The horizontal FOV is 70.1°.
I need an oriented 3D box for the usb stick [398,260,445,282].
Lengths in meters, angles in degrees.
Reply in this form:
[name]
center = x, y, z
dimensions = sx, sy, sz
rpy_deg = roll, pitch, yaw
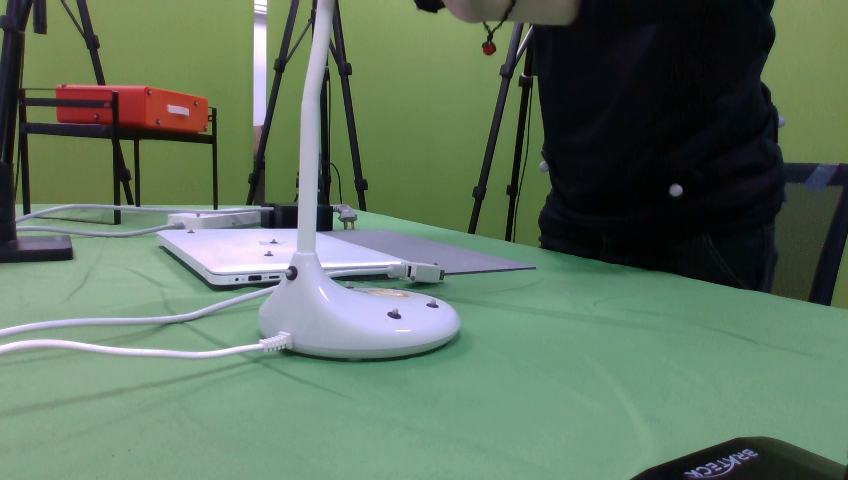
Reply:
[usb stick]
center = -0.001, 0.036, 0.696
dimensions = 0.027, 0.021, 0.059
rpy_deg = 8, 1, 43

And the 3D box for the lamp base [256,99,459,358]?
[lamp base]
center = -0.055, -0.013, 0.463
dimensions = 0.160, 0.180, 0.180
rpy_deg = 6, 11, 27

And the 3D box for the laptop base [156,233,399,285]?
[laptop base]
center = -0.204, 0.019, 0.806
dimensions = 0.237, 0.023, 0.352
rpy_deg = 0, 7, -33

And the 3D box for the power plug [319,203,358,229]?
[power plug]
center = -0.170, -0.046, 1.210
dimensions = 0.073, 0.052, 0.035
rpy_deg = -6, -16, -6

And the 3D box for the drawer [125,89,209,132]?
[drawer]
center = -0.595, -0.268, 1.263
dimensions = 0.211, 0.073, 0.195
rpy_deg = 4, 8, 15

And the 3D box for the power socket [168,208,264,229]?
[power socket]
center = -0.381, -0.038, 1.128
dimensions = 0.072, 0.032, 0.227
rpy_deg = 4, 8, 16

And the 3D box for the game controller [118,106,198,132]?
[game controller]
center = -0.555, -0.252, 1.255
dimensions = 0.097, 0.051, 0.155
rpy_deg = 7, 11, 19

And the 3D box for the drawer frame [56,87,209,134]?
[drawer frame]
center = -0.598, -0.269, 1.262
dimensions = 0.213, 0.082, 0.202
rpy_deg = 4, 8, 14

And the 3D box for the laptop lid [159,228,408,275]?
[laptop lid]
center = -0.202, 0.007, 0.806
dimensions = 0.243, 0.013, 0.355
rpy_deg = -1, 8, -31
